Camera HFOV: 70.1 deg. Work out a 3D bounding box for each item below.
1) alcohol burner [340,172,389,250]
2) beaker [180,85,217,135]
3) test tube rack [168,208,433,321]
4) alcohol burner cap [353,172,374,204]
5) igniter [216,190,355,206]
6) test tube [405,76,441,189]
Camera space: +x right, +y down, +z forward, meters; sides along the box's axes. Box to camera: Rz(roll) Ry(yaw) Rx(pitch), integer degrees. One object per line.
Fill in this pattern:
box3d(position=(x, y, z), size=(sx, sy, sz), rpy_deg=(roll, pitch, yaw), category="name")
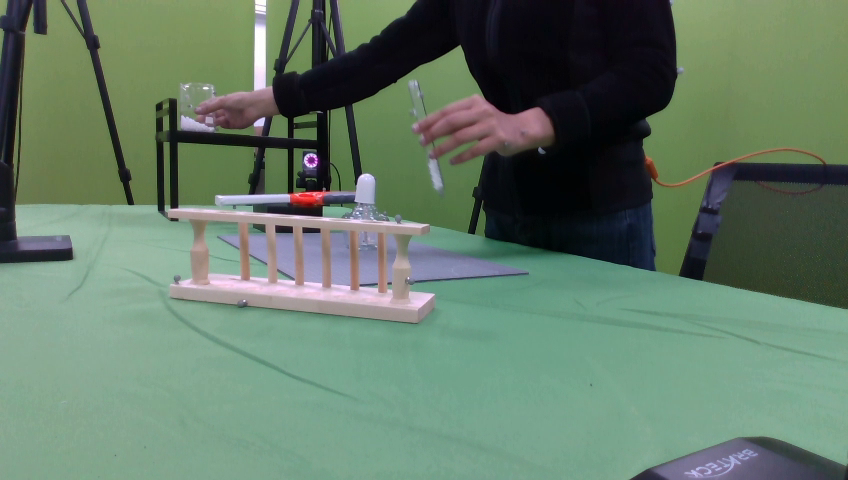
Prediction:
box3d(position=(-0.094, -0.045, 0.939), size=(0.078, 0.119, 0.078), rpy_deg=(-1, 7, 0), category="alcohol burner")
box3d(position=(-0.478, -0.275, 1.279), size=(0.074, 0.100, 0.084), rpy_deg=(3, 8, 15), category="beaker")
box3d(position=(-0.116, 0.018, 0.574), size=(0.242, 0.085, 0.067), rpy_deg=(4, 8, 14), category="test tube rack")
box3d(position=(-0.092, -0.081, 0.935), size=(0.034, 0.048, 0.034), rpy_deg=(5, 7, 0), category="alcohol burner cap")
box3d(position=(-0.249, -0.080, 1.152), size=(0.278, 0.025, 0.057), rpy_deg=(-4, 12, -27), category="igniter")
box3d(position=(-0.001, -0.141, 0.800), size=(0.017, 0.150, 0.017), rpy_deg=(-14, 7, 2), category="test tube")
